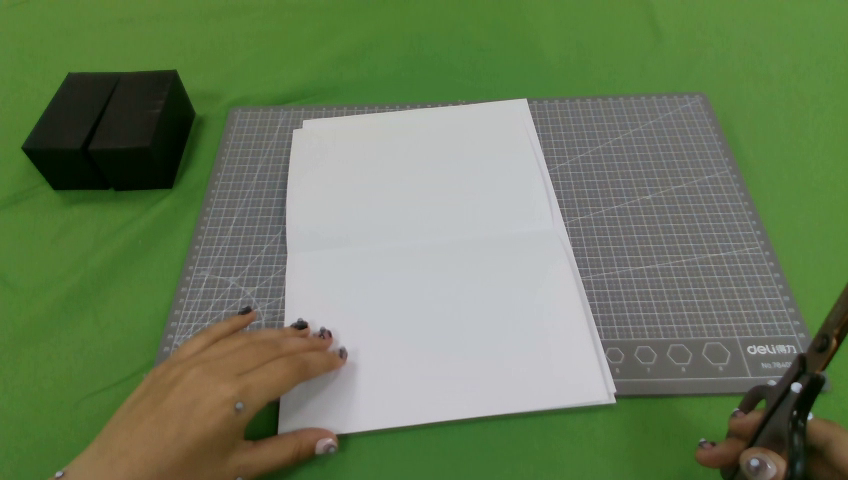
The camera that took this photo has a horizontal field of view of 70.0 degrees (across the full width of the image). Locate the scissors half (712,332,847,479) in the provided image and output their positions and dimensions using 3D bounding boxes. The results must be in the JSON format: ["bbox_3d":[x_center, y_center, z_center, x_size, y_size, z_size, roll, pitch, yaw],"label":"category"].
[{"bbox_3d":[0.189,0.059,0.298,0.013,0.176,0.040,23,34,9],"label":"scissors half"}]

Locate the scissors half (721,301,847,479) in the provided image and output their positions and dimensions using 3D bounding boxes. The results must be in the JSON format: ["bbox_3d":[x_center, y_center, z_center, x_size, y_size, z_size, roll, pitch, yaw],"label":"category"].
[{"bbox_3d":[0.183,0.066,0.280,0.013,0.176,0.040,20,18,4],"label":"scissors half"}]
